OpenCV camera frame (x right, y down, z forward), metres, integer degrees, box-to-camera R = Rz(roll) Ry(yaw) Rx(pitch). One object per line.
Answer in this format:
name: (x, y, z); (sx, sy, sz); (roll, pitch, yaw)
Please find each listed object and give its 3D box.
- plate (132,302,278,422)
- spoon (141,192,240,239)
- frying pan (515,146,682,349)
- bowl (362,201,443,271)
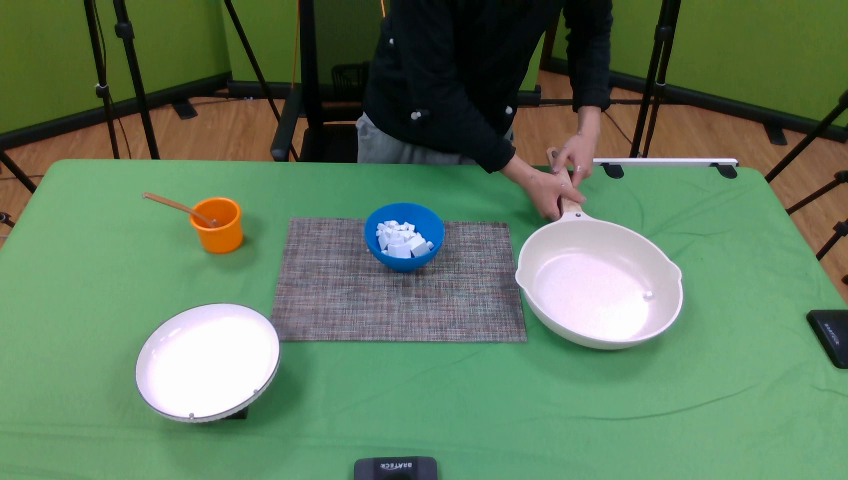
plate: (-0.325, 0.186, 0.916); (0.208, 0.039, 0.206); (3, 44, -2)
spoon: (-0.428, -0.048, 1.123); (0.021, 0.195, 0.041); (-39, 44, 20)
frying pan: (0.302, -0.004, 1.168); (0.307, 0.103, 0.484); (-1, 55, -7)
bowl: (-0.041, 0.005, 1.144); (0.151, 0.077, 0.150); (3, 46, -3)
